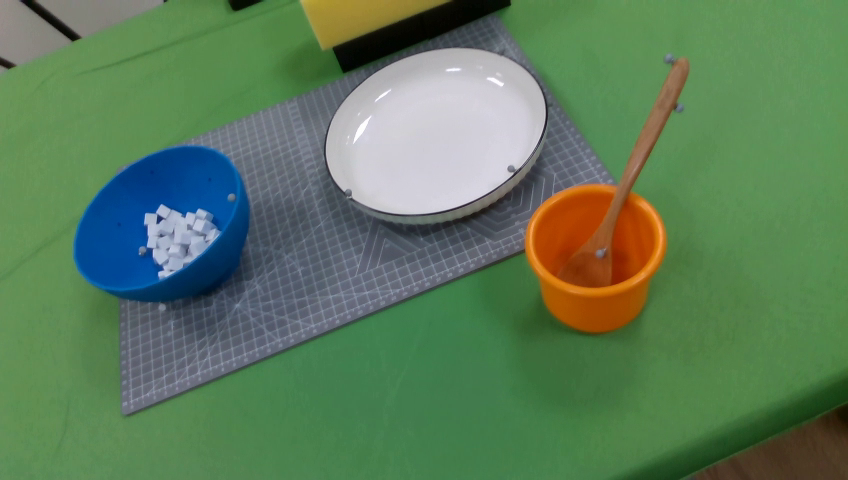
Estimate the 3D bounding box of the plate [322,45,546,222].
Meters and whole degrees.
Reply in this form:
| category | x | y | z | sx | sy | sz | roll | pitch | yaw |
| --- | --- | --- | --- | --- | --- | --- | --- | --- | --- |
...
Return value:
| category | x | y | z | sx | sy | sz | roll | pitch | yaw |
| --- | --- | --- | --- | --- | --- | --- | --- | --- | --- |
| plate | 0.009 | -0.098 | 0.563 | 0.209 | 0.038 | 0.207 | -7 | 56 | 10 |

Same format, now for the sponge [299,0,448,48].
| category | x | y | z | sx | sy | sz | roll | pitch | yaw |
| --- | --- | --- | --- | --- | --- | --- | --- | --- | --- |
| sponge | -0.033 | -0.292 | 0.634 | 0.207 | 0.061 | 0.117 | -21 | 54 | 0 |

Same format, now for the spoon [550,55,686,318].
| category | x | y | z | sx | sy | sz | roll | pitch | yaw |
| --- | --- | --- | --- | --- | --- | --- | --- | --- | --- |
| spoon | 0.136 | -0.032 | 0.420 | 0.041 | 0.194 | 0.022 | 31 | 25 | 30 |

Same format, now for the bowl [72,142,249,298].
| category | x | y | z | sx | sy | sz | roll | pitch | yaw |
| --- | --- | --- | --- | --- | --- | --- | --- | --- | --- |
| bowl | -0.215 | -0.005 | 0.535 | 0.151 | 0.077 | 0.150 | -7 | 55 | 11 |
